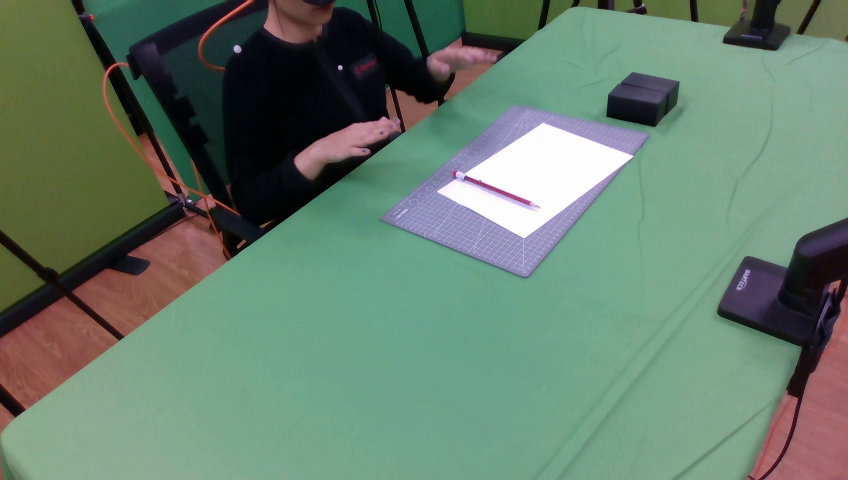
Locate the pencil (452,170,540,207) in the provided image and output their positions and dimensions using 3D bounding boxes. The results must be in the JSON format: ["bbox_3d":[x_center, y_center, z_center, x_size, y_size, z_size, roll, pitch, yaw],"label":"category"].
[{"bbox_3d":[0.125,-0.091,1.069,0.192,0.012,0.012,26,52,35],"label":"pencil"}]
